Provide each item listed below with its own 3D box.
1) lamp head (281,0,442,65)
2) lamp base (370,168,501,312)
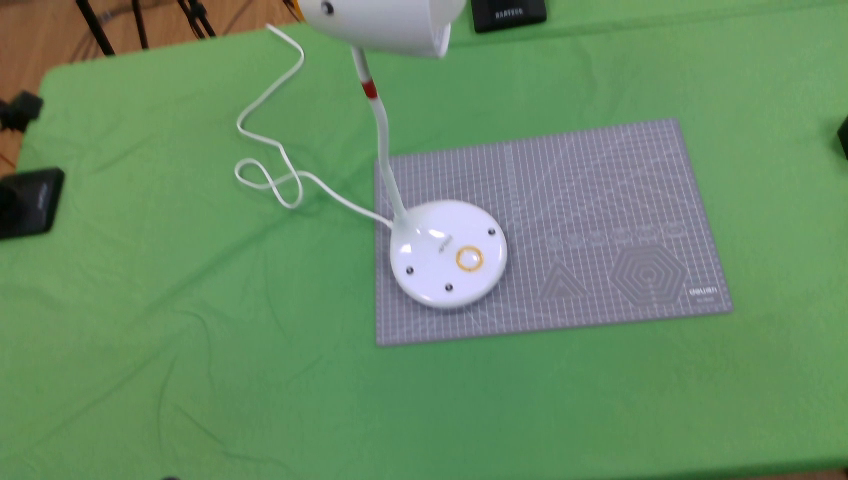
[{"bbox_3d":[-0.049,-0.193,0.488,0.122,0.113,0.111,-2,62,15],"label":"lamp head"},{"bbox_3d":[0.000,-0.016,0.761,0.178,0.182,0.160,17,67,21],"label":"lamp base"}]
